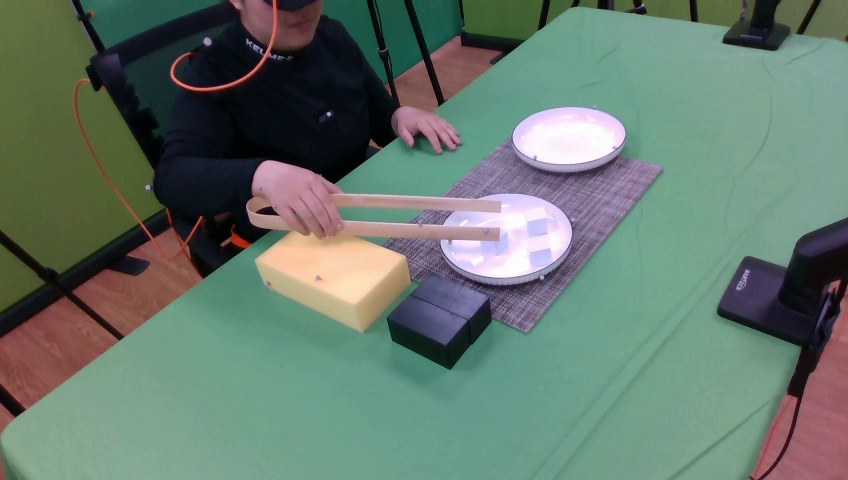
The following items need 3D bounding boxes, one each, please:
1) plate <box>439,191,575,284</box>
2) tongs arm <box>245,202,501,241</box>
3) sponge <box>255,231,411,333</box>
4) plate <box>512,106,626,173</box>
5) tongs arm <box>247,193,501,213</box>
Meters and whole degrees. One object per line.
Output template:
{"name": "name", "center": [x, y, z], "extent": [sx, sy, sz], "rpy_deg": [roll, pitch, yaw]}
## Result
{"name": "plate", "center": [0.128, -0.002, 0.942], "extent": [0.207, 0.039, 0.206], "rpy_deg": [-5, 40, 5]}
{"name": "tongs arm", "center": [-0.080, -0.028, 0.896], "extent": [0.385, 0.026, 0.050], "rpy_deg": [2, 41, 4]}
{"name": "sponge", "center": [-0.139, 0.048, 0.922], "extent": [0.205, 0.061, 0.118], "rpy_deg": [19, 47, 30]}
{"name": "plate", "center": [0.269, -0.185, 1.132], "extent": [0.209, 0.038, 0.208], "rpy_deg": [-5, 40, 5]}
{"name": "tongs arm", "center": [-0.075, -0.054, 0.927], "extent": [0.387, 0.028, 0.028], "rpy_deg": [1, 44, 3]}
